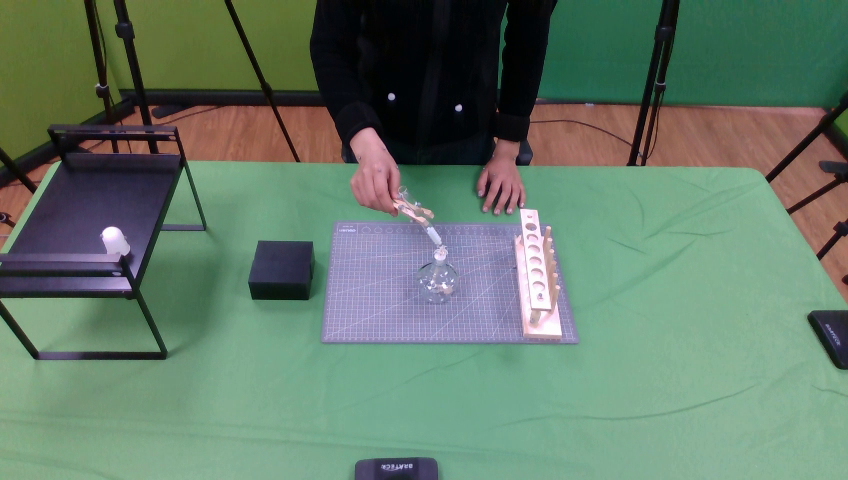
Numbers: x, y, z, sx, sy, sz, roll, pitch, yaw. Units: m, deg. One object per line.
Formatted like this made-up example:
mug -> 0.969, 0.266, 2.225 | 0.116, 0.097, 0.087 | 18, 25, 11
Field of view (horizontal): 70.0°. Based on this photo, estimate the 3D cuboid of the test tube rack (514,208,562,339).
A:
test tube rack -> 0.212, 0.056, 1.113 | 0.067, 0.085, 0.241 | 3, 46, -1

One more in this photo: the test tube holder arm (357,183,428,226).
test tube holder arm -> -0.056, -0.061, 1.002 | 0.177, 0.015, 0.013 | 28, 67, 40

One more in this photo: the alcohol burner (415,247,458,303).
alcohol burner -> 0.024, 0.057, 1.078 | 0.078, 0.119, 0.077 | 3, 44, -2

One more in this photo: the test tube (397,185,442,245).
test tube -> -0.004, -0.036, 0.965 | 0.017, 0.151, 0.017 | -14, 51, 19

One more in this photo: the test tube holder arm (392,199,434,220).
test tube holder arm -> -0.021, -0.050, 0.975 | 0.087, 0.015, 0.010 | 20, 62, 37

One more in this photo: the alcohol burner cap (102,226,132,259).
alcohol burner cap -> -0.457, 0.001, 0.897 | 0.034, 0.048, 0.033 | 2, 47, -2
